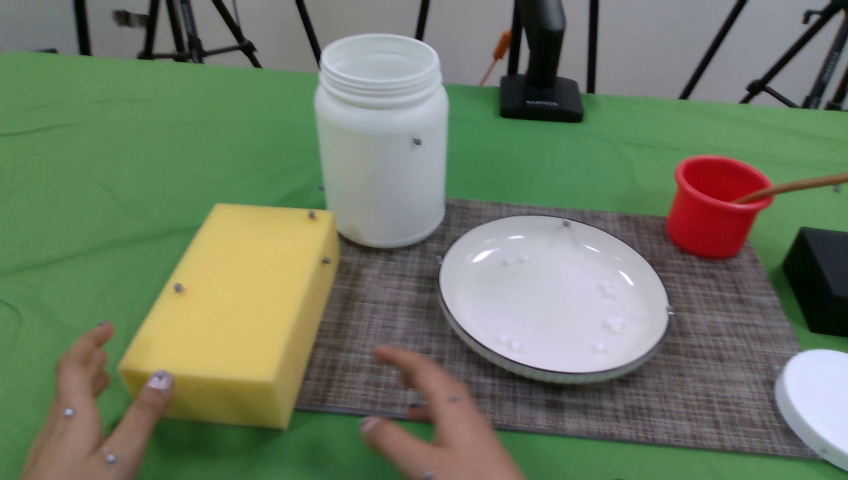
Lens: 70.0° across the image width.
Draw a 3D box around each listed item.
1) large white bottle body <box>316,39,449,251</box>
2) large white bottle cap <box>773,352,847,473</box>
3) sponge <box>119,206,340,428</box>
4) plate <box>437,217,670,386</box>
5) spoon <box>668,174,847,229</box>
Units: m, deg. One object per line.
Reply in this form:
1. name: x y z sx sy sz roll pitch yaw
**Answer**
1. large white bottle body: -0.041 -0.096 0.619 0.130 0.186 0.129 1 40 -1
2. large white bottle cap: 0.345 0.139 0.489 0.115 0.018 0.113 4 40 -3
3. sponge: -0.153 0.056 0.528 0.118 0.061 0.205 3 39 4
4. plate: 0.115 0.055 0.561 0.209 0.038 0.207 2 39 -1
5. spoon: 0.336 -0.039 0.604 0.041 0.193 0.022 -36 98 -38
